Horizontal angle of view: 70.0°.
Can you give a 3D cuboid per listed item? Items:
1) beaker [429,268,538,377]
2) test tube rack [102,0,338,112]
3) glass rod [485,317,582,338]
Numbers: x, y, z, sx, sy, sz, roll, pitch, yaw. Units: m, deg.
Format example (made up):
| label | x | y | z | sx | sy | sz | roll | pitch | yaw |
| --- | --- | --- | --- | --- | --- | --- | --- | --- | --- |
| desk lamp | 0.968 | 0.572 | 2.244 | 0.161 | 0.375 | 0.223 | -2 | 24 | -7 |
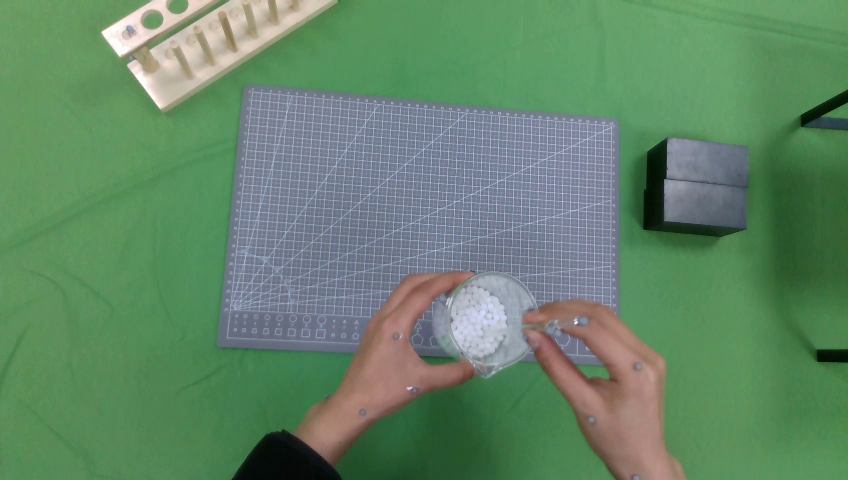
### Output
| label | x | y | z | sx | sy | sz | roll | pitch | yaw |
| --- | --- | --- | --- | --- | --- | --- | --- | --- | --- |
| beaker | 0.045 | 0.071 | 0.510 | 0.074 | 0.100 | 0.083 | 9 | 80 | -7 |
| test tube rack | -0.214 | -0.248 | 0.668 | 0.242 | 0.085 | 0.066 | -37 | 86 | -11 |
| glass rod | 0.073 | 0.067 | 0.449 | 0.008 | 0.200 | 0.008 | 2 | 79 | -10 |
